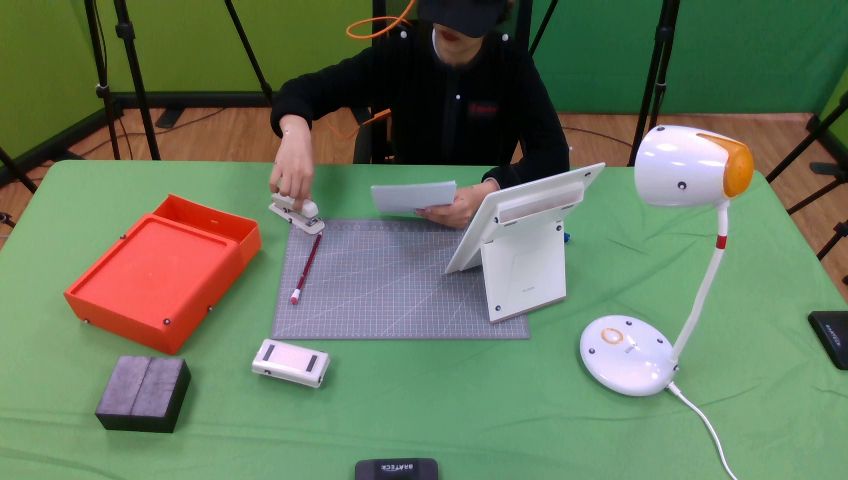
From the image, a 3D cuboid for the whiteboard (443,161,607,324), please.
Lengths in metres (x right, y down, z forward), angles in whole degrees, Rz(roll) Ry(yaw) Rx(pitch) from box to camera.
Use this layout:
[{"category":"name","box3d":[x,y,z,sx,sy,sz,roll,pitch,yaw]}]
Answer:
[{"category":"whiteboard","box3d":[0.185,0.026,1.028,0.217,0.306,0.143,-15,68,-18]}]

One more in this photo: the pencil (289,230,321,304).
[{"category":"pencil","box3d":[-0.221,0.045,1.141,0.012,0.012,0.193,8,44,4]}]

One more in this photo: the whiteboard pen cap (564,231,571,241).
[{"category":"whiteboard pen cap","box3d":[0.280,-0.011,1.230,0.033,0.018,0.018,25,50,17]}]

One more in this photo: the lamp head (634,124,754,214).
[{"category":"lamp head","box3d":[0.351,-0.089,0.776,0.112,0.113,0.122,-30,30,-28]}]

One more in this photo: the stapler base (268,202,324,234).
[{"category":"stapler base","box3d":[-0.260,-0.056,1.228,0.130,0.024,0.041,28,46,26]}]

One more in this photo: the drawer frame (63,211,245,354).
[{"category":"drawer frame","box3d":[-0.459,0.067,1.056,0.201,0.083,0.212,17,48,11]}]

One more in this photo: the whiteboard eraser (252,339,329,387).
[{"category":"whiteboard eraser","box3d":[-0.215,0.199,0.976,0.112,0.042,0.055,12,45,7]}]

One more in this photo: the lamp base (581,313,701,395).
[{"category":"lamp base","box3d":[0.361,0.144,0.973,0.178,0.181,0.160,34,53,23]}]

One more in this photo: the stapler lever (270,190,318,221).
[{"category":"stapler lever","box3d":[-0.261,-0.075,1.211,0.117,0.040,0.027,28,46,26]}]

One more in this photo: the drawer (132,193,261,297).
[{"category":"drawer","box3d":[-0.437,0.027,1.098,0.194,0.073,0.211,18,48,12]}]

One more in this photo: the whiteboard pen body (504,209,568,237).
[{"category":"whiteboard pen body","box3d":[0.230,-0.034,1.248,0.140,0.017,0.017,23,49,16]}]
